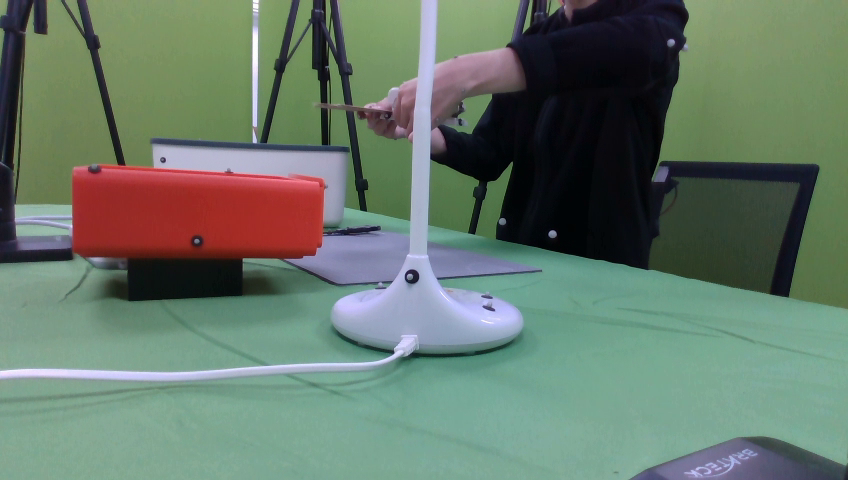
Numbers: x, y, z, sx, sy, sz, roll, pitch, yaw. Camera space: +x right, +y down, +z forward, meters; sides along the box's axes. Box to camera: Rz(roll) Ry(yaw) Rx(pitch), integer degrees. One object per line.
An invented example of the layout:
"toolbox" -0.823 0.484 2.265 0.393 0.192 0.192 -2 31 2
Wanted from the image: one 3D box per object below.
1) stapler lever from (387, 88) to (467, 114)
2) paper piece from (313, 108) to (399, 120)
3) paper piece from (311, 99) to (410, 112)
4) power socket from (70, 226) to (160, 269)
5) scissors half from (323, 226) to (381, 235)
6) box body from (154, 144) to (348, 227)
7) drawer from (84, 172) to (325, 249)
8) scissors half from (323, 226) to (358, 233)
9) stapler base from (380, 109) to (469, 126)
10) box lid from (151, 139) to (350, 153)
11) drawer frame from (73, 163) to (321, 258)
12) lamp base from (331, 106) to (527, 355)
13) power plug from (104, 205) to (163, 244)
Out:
"stapler lever" 0.002 -0.195 0.849 0.117 0.040 0.027 5 12 29
"paper piece" -0.089 -0.187 0.897 0.136 0.004 0.135 2 14 -21
"paper piece" -0.080 -0.194 0.893 0.139 0.008 0.135 1 14 -29
"power socket" -0.409 0.004 0.793 0.072 0.032 0.225 -2 8 -38
"scissors half" -0.153 -0.015 1.079 0.176 0.013 0.040 -6 2 -33
"box body" -0.357 -0.119 1.264 0.365 0.160 0.253 0 7 -18
"drawer" -0.227 -0.036 0.638 0.213 0.073 0.193 -1 9 -23
"scissors half" -0.166 -0.015 1.094 0.040 0.013 0.176 4 7 39
"stapler base" -0.001 -0.177 0.852 0.130 0.024 0.041 12 15 27
"box lid" -0.352 -0.191 1.256 0.373 0.015 0.262 0 8 -18
"drawer frame" -0.232 -0.034 0.635 0.214 0.082 0.201 1 8 -23
"lamp base" 0.006 -0.012 0.478 0.161 0.180 0.179 2 10 2
"power plug" -0.390 -0.021 0.815 0.073 0.052 0.035 -1 7 -27
